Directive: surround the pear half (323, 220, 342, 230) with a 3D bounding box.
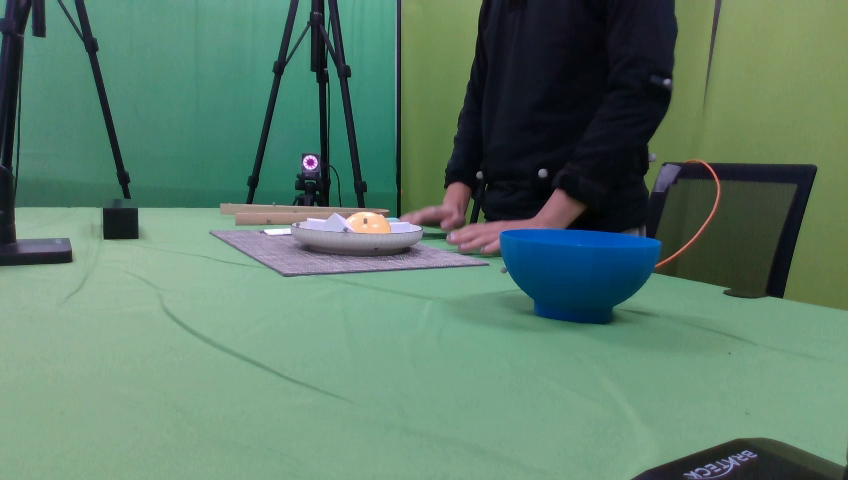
[{"bbox_3d":[-0.127,-0.019,1.001,0.088,0.031,0.070,8,4,1],"label":"pear half"}]

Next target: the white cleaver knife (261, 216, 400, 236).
[{"bbox_3d":[-0.169,-0.021,1.156,0.288,0.021,0.065,-7,19,-33],"label":"white cleaver knife"}]

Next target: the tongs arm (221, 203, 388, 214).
[{"bbox_3d":[-0.271,-0.067,1.415,0.387,0.026,0.050,0,8,-26],"label":"tongs arm"}]

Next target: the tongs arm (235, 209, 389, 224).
[{"bbox_3d":[-0.232,-0.053,1.347,0.390,0.028,0.028,-3,7,-38],"label":"tongs arm"}]

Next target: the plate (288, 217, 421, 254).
[{"bbox_3d":[-0.109,-0.007,0.956,0.208,0.039,0.207,2,7,0],"label":"plate"}]

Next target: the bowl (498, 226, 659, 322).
[{"bbox_3d":[0.145,0.032,0.583,0.151,0.077,0.151,2,7,0],"label":"bowl"}]

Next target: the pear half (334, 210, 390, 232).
[{"bbox_3d":[-0.108,-0.017,0.920,0.110,0.056,0.076,-4,5,-20],"label":"pear half"}]
